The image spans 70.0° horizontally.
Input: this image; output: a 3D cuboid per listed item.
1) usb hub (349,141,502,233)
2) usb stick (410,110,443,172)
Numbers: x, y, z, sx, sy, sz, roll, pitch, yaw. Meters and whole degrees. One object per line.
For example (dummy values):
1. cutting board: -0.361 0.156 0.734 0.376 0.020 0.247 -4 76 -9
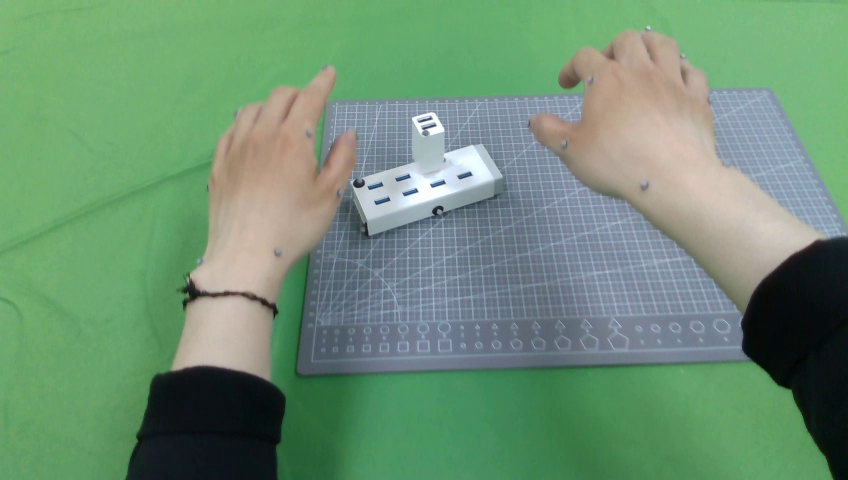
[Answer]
1. usb hub: 0.001 -0.048 0.527 0.125 0.025 0.049 -17 55 -12
2. usb stick: 0.002 -0.078 0.513 0.021 0.060 0.027 -18 53 -13
